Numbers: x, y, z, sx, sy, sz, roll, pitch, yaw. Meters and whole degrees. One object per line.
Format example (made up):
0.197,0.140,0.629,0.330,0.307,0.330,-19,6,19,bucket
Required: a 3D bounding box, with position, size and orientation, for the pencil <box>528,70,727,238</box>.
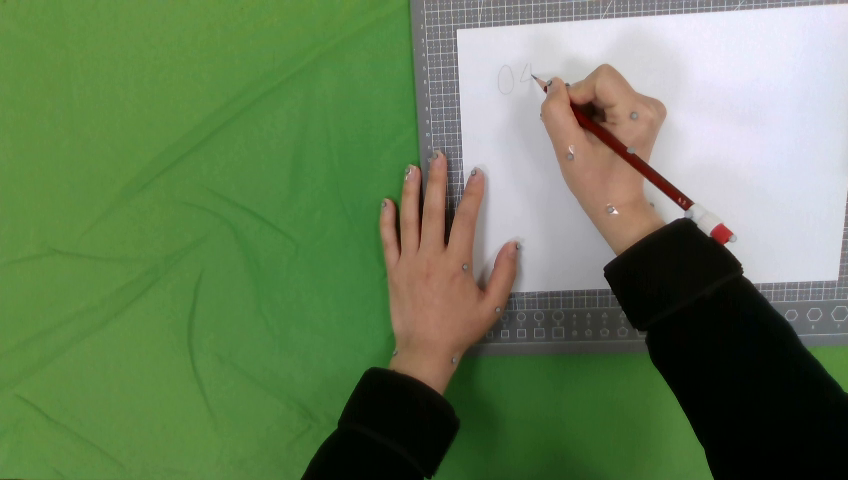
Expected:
0.126,-0.066,0.407,0.012,0.012,0.192,-45,54,13,pencil
